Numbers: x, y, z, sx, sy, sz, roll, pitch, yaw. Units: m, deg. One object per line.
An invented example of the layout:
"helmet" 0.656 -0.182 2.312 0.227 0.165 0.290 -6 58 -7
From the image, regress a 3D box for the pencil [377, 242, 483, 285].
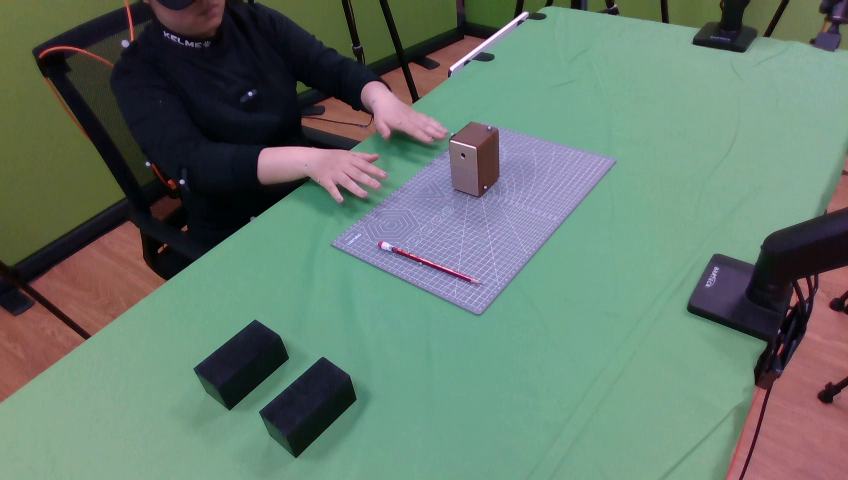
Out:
"pencil" 0.006 0.036 0.930 0.192 0.012 0.012 20 47 27

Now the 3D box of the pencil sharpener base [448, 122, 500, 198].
"pencil sharpener base" 0.090 -0.140 1.052 0.061 0.107 0.077 20 47 30

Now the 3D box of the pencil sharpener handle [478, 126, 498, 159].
"pencil sharpener handle" 0.119 -0.179 1.075 0.035 0.068 0.031 21 47 30
